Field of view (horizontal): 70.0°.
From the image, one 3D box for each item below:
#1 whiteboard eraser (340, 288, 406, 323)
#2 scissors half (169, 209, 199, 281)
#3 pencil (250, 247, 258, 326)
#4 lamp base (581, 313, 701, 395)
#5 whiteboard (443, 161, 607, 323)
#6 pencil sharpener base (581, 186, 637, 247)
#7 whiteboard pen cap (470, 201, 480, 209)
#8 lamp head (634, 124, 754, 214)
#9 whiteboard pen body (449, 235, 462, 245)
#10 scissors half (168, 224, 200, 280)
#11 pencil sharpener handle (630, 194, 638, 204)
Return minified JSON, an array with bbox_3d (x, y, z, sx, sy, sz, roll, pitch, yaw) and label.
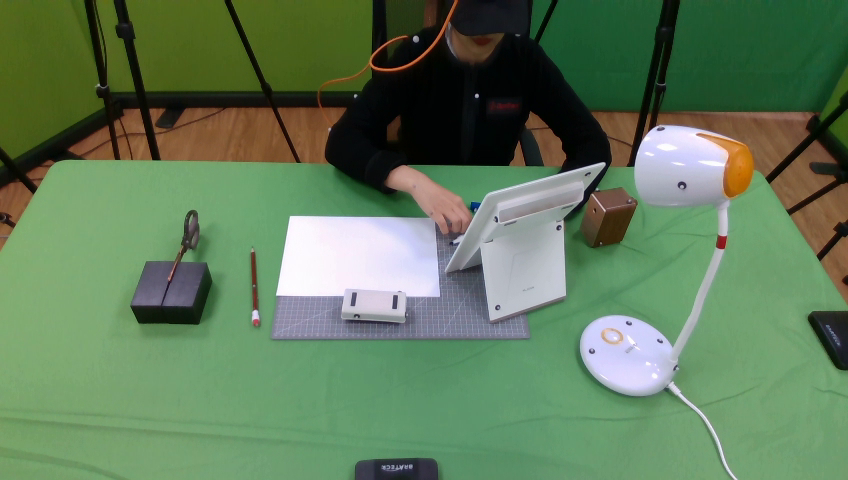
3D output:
[{"bbox_3d":[-0.088,0.117,1.060,0.113,0.042,0.055,3,45,-1],"label":"whiteboard eraser"},{"bbox_3d":[-0.438,0.007,1.098,0.013,0.040,0.174,3,48,-3],"label":"scissors half"},{"bbox_3d":[-0.312,0.079,1.107,0.012,0.012,0.192,-7,46,-11],"label":"pencil"},{"bbox_3d":[0.361,0.144,0.973,0.178,0.181,0.160,34,53,23],"label":"lamp base"},{"bbox_3d":[0.185,0.025,1.029,0.217,0.306,0.143,-15,68,-18],"label":"whiteboard"},{"bbox_3d":[0.369,-0.047,1.209,0.077,0.107,0.061,-11,47,-15],"label":"pencil sharpener base"},{"bbox_3d":[0.113,-0.073,1.279,0.033,0.018,0.018,4,46,6],"label":"whiteboard pen cap"},{"bbox_3d":[0.351,-0.089,0.776,0.112,0.113,0.122,-30,30,-28],"label":"lamp head"},{"bbox_3d":[0.110,-0.018,1.223,0.141,0.017,0.017,-23,52,-22],"label":"whiteboard pen body"},{"bbox_3d":[-0.440,0.023,1.111,0.013,0.040,0.174,7,29,-6],"label":"scissors half"},{"bbox_3d":[0.417,-0.068,1.215,0.031,0.068,0.036,-11,60,-14],"label":"pencil sharpener handle"}]
